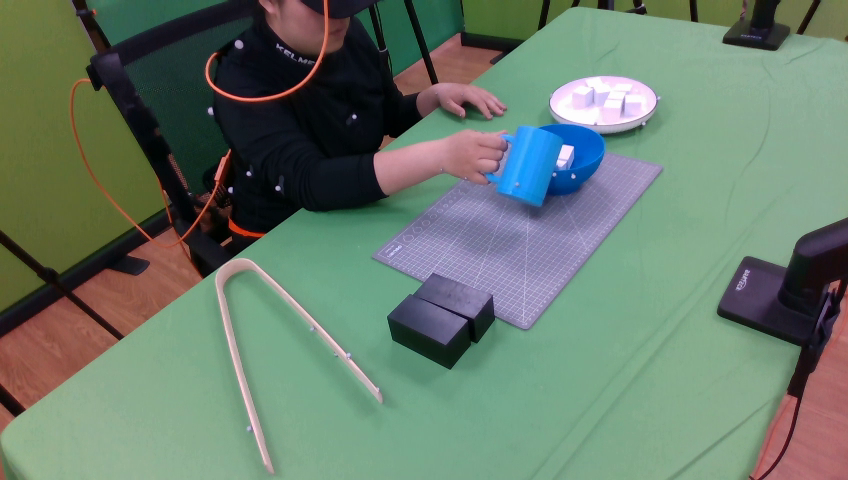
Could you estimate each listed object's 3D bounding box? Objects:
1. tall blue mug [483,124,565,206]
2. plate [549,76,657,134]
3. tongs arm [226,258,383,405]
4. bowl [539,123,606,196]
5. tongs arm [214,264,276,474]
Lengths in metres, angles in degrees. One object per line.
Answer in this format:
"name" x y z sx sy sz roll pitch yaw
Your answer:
"tall blue mug" 0.150 -0.121 0.941 0.107 0.108 0.077 19 3 -3
"plate" 0.357 -0.268 1.220 0.209 0.038 0.208 -5 40 5
"tongs arm" -0.185 0.121 0.863 0.051 0.027 0.381 -34 45 -20
"bowl" 0.235 -0.131 1.045 0.151 0.077 0.150 -5 40 5
"tongs arm" -0.252 0.158 0.837 0.028 0.028 0.384 -27 43 -8
